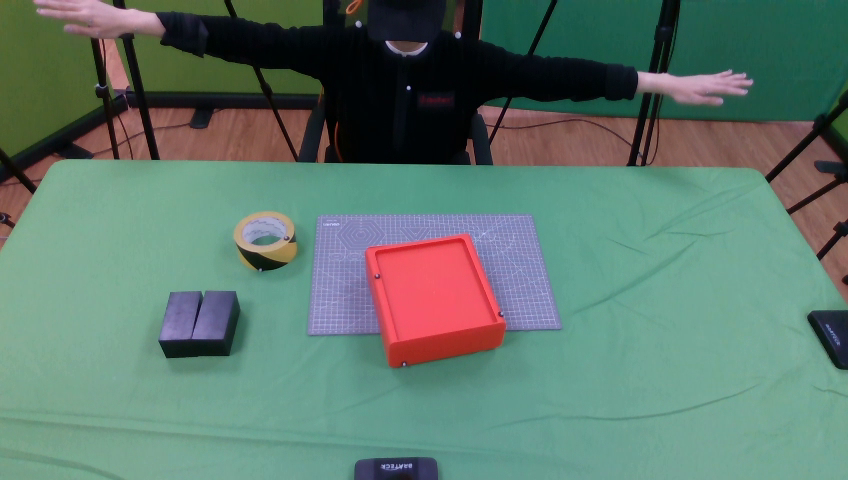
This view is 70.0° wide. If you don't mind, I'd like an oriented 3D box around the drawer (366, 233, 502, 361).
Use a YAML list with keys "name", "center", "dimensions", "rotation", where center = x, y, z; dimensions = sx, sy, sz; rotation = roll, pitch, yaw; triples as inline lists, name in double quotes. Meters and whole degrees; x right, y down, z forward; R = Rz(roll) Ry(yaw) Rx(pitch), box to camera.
- name: "drawer"
  center: [0.012, 0.095, 1.063]
  dimensions: [0.195, 0.073, 0.210]
  rotation: [-7, 48, -12]

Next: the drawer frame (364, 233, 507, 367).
- name: "drawer frame"
  center: [0.013, 0.098, 1.058]
  dimensions: [0.202, 0.083, 0.212]
  rotation: [-9, 48, -12]

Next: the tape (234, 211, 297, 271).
- name: "tape"
  center: [-0.301, 0.002, 1.154]
  dimensions: [0.117, 0.053, 0.116]
  rotation: [2, 46, -1]
